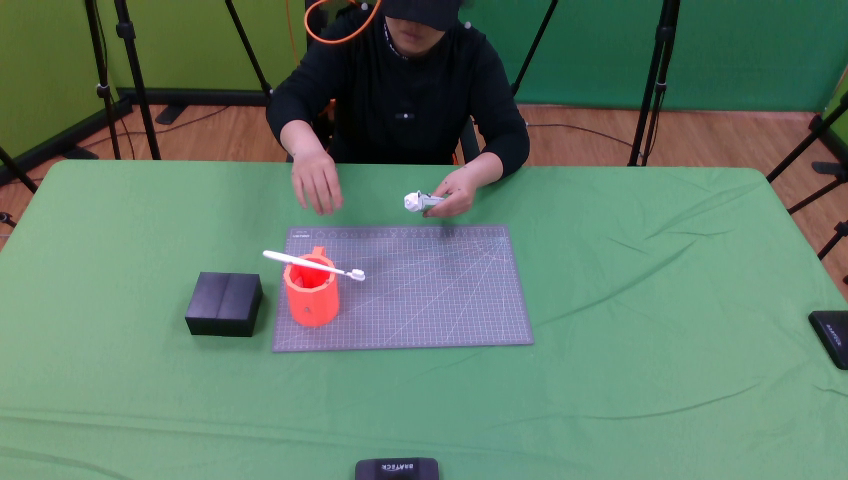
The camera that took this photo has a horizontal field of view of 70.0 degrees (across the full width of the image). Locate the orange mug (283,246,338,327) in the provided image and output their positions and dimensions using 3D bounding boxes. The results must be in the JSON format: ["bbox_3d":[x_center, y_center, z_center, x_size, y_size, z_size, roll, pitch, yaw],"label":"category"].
[{"bbox_3d":[-0.192,0.074,1.056,0.083,0.101,0.125,5,50,1],"label":"orange mug"}]

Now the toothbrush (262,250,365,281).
[{"bbox_3d":[-0.186,0.040,1.015,0.182,0.017,0.014,13,55,8],"label":"toothbrush"}]

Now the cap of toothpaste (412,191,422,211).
[{"bbox_3d":[-0.013,-0.069,1.075,0.011,0.037,0.037,8,46,13],"label":"cap of toothpaste"}]

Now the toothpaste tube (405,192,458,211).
[{"bbox_3d":[0.010,-0.071,1.163,0.055,0.165,0.034,-17,82,26],"label":"toothpaste tube"}]
